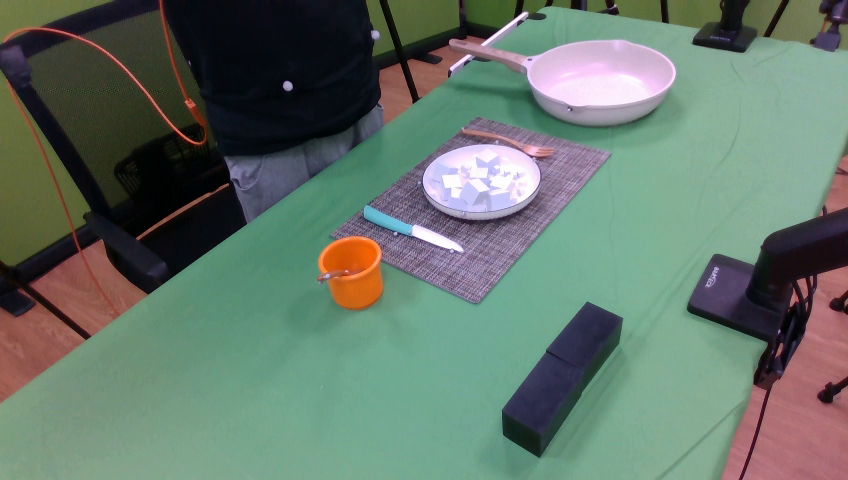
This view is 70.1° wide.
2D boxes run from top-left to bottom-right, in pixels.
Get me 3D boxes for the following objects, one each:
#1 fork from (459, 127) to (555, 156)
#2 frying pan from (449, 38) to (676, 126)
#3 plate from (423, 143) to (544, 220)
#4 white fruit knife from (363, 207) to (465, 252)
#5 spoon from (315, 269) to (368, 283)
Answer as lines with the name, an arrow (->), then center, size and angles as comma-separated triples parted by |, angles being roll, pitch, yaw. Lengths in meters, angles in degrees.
fork -> 0.155, -0.192, 1.165 | 0.206, 0.019, 0.028 | 22, 60, 27
frying pan -> 0.272, -0.362, 1.287 | 0.485, 0.103, 0.307 | 23, 48, 19
plate -> 0.102, -0.097, 1.049 | 0.207, 0.039, 0.206 | -4, 40, 4
white fruit knife -> -0.022, -0.016, 0.990 | 0.206, 0.016, 0.027 | 21, 52, 28
spoon -> -0.116, 0.048, 0.831 | 0.041, 0.194, 0.021 | -5, 85, 9
